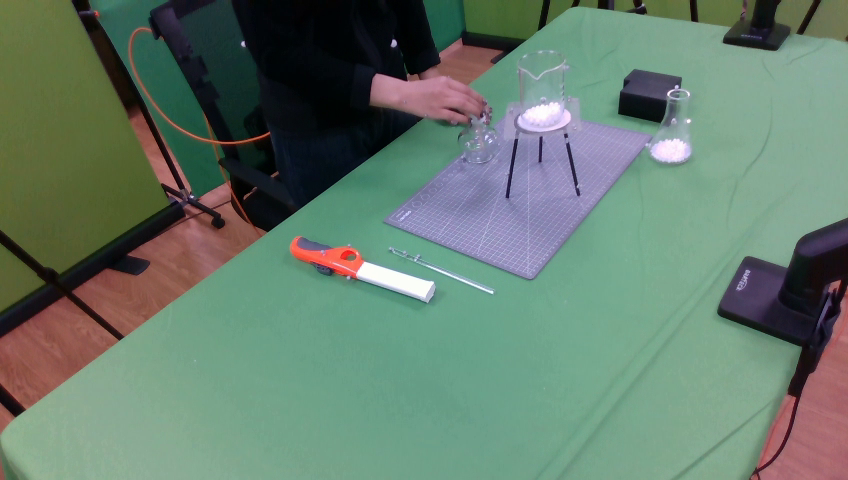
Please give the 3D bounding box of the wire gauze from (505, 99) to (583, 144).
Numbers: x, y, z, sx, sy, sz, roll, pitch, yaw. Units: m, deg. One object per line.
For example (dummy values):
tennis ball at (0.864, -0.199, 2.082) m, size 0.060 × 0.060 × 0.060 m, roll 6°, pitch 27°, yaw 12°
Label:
wire gauze at (0.195, -0.199, 0.988) m, size 0.121 × 0.011 × 0.124 m, roll -3°, pitch 41°, yaw 13°

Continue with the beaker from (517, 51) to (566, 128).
beaker at (0.187, -0.235, 0.957) m, size 0.073 × 0.101 × 0.084 m, roll 4°, pitch 42°, yaw 19°

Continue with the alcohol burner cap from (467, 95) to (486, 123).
alcohol burner cap at (0.095, -0.240, 1.098) m, size 0.034 × 0.048 × 0.033 m, roll -4°, pitch 43°, yaw 5°

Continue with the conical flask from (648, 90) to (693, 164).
conical flask at (0.437, -0.199, 1.057) m, size 0.075 × 0.122 × 0.075 m, roll -5°, pitch 40°, yaw 5°

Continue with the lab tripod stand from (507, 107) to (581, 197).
lab tripod stand at (0.201, -0.151, 1.033) m, size 0.148 × 0.132 × 0.147 m, roll -7°, pitch 39°, yaw 6°

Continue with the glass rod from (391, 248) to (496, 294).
glass rod at (0.026, 0.046, 0.937) m, size 0.198 × 0.008 × 0.008 m, roll 21°, pitch 49°, yaw 31°

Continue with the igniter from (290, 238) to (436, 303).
igniter at (-0.106, 0.044, 0.949) m, size 0.274 × 0.025 × 0.057 m, roll 16°, pitch 57°, yaw 27°

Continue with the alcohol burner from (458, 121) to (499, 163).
alcohol burner at (0.100, -0.204, 1.131) m, size 0.078 × 0.119 × 0.077 m, roll -5°, pitch 43°, yaw 6°
